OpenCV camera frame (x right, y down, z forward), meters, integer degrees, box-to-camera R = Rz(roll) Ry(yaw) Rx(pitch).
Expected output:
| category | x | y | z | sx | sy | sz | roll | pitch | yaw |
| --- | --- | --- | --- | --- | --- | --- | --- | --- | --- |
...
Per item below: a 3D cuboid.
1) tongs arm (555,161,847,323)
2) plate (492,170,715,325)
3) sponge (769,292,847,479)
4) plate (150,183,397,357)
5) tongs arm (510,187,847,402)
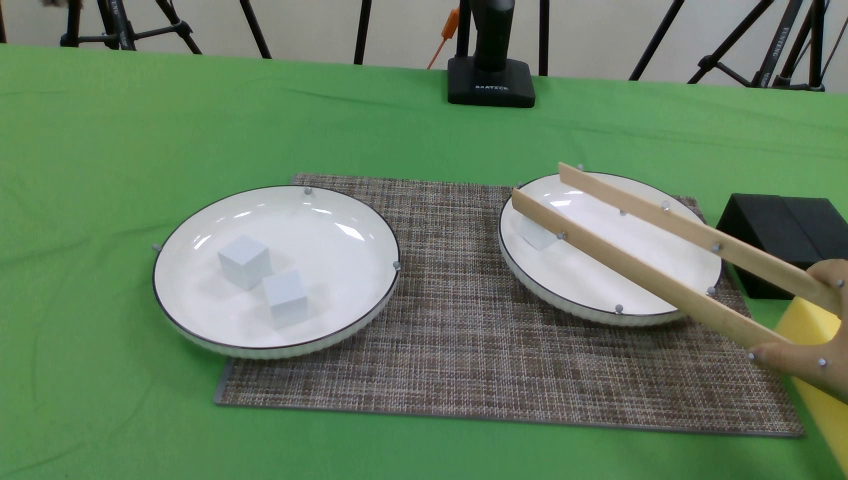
| category | x | y | z | sx | sy | sz | roll | pitch | yaw |
| --- | --- | --- | --- | --- | --- | --- | --- | --- | --- |
| tongs arm | 0.232 | 0.024 | 0.453 | 0.051 | 0.027 | 0.380 | -33 | 44 | -26 |
| plate | 0.167 | 0.007 | 0.585 | 0.208 | 0.039 | 0.205 | 3 | 42 | -2 |
| sponge | 0.364 | 0.133 | 0.450 | 0.118 | 0.061 | 0.204 | 1 | 42 | -4 |
| plate | -0.128 | 0.025 | 0.538 | 0.209 | 0.038 | 0.207 | 3 | 41 | -2 |
| tongs arm | 0.204 | 0.041 | 0.439 | 0.028 | 0.028 | 0.383 | -30 | 43 | -27 |
